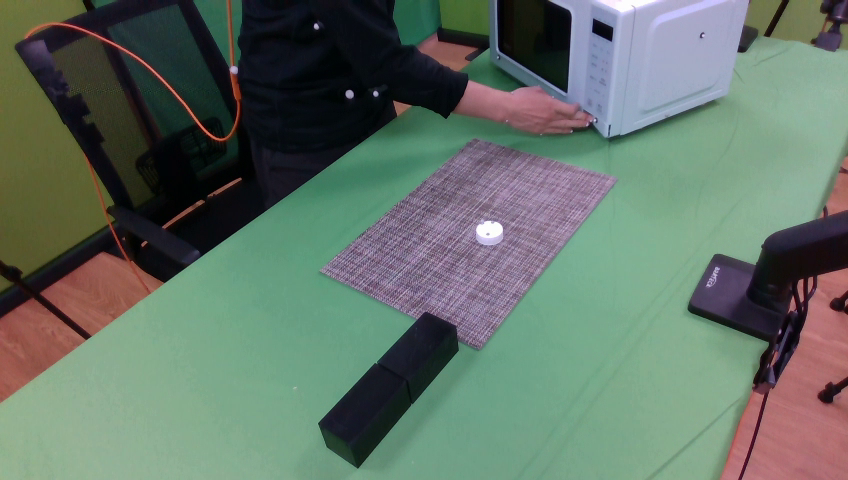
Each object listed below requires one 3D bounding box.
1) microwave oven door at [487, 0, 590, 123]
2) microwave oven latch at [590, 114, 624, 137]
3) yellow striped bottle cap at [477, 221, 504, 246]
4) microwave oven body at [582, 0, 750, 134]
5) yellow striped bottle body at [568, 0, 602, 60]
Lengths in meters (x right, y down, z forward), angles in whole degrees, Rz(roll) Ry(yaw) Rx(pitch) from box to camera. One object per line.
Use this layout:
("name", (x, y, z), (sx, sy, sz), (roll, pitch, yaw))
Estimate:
("microwave oven door", (0.232, -0.420, 1.231), (0.039, 0.245, 0.352), (-22, 43, -16))
("microwave oven latch", (0.343, -0.223, 1.141), (0.030, 0.029, 0.078), (-14, 40, -6))
("yellow striped bottle cap", (0.106, -0.010, 0.967), (0.044, 0.019, 0.044), (-4, 39, 4))
("microwave oven body", (0.382, -0.444, 1.246), (0.327, 0.261, 0.437), (-22, 42, -16))
("yellow striped bottle body", (0.338, -0.447, 1.269), (0.063, 0.121, 0.062), (-4, 43, 4))
